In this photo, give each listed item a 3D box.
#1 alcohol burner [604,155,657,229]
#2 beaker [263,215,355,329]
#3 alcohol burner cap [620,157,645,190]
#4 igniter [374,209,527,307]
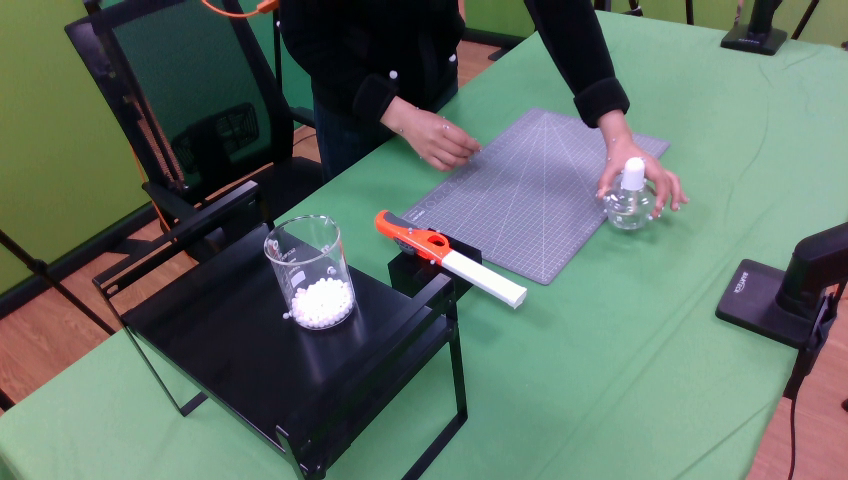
[{"bbox_3d":[0.310,-0.076,0.904,0.078,0.119,0.077,-5,42,5],"label":"alcohol burner"},{"bbox_3d":[-0.111,0.034,0.615,0.073,0.101,0.084,13,44,23],"label":"beaker"},{"bbox_3d":[0.307,-0.100,0.886,0.034,0.048,0.033,-4,42,4],"label":"alcohol burner cap"},{"bbox_3d":[0.027,0.019,0.872,0.274,0.025,0.057,29,52,31],"label":"igniter"}]
